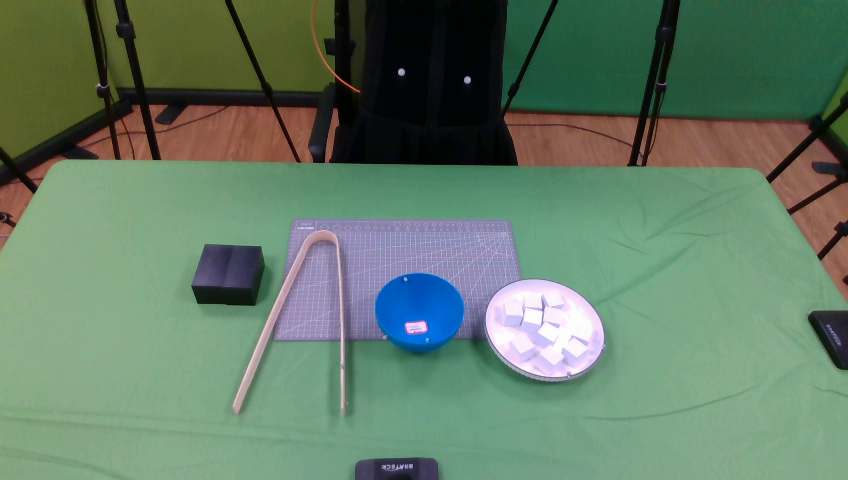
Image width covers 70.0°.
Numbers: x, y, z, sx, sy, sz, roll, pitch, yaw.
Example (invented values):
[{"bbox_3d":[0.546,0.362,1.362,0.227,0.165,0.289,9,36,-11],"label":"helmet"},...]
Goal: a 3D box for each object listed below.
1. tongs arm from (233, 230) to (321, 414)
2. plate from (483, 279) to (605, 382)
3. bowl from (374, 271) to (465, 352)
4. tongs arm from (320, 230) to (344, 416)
[{"bbox_3d":[-0.250,0.124,1.054,0.028,0.028,0.385,5,46,10],"label":"tongs arm"},{"bbox_3d":[0.204,0.158,1.046,0.208,0.039,0.206,3,47,-3],"label":"plate"},{"bbox_3d":[-0.009,0.136,1.024,0.151,0.077,0.150,2,47,-2],"label":"bowl"},{"bbox_3d":[-0.163,0.126,1.054,0.051,0.026,0.382,-4,47,-2],"label":"tongs arm"}]
